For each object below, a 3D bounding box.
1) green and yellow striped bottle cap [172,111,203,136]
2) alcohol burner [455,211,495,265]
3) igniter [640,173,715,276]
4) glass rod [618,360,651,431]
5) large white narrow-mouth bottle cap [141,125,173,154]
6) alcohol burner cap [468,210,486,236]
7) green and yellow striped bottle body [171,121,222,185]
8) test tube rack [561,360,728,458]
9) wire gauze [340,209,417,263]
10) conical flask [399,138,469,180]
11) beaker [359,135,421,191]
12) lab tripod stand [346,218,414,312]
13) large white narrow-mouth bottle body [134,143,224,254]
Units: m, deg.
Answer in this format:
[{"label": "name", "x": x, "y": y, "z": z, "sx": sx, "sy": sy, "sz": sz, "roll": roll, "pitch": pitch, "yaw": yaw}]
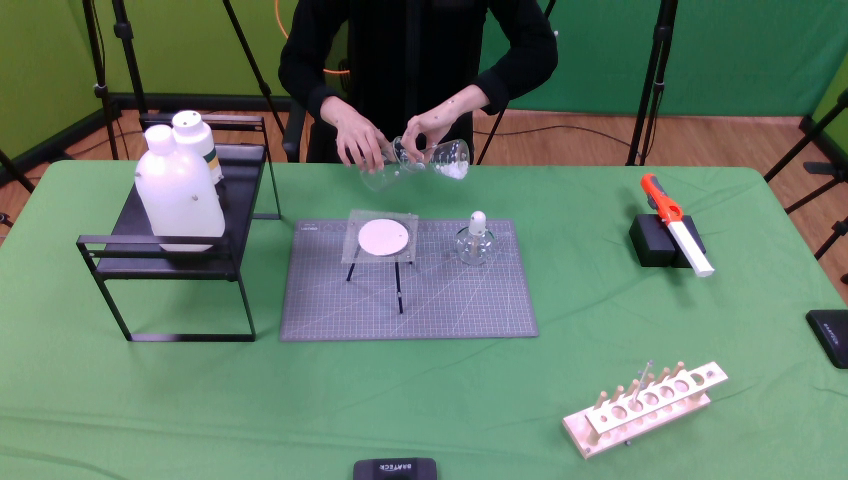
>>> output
[{"label": "green and yellow striped bottle cap", "x": -0.374, "y": -0.185, "z": 0.958, "sx": 0.045, "sy": 0.020, "sz": 0.045, "roll": 4, "pitch": 46, "yaw": -4}, {"label": "alcohol burner", "x": 0.097, "y": -0.010, "z": 1.147, "sx": 0.078, "sy": 0.120, "sz": 0.077, "roll": 0, "pitch": 47, "yaw": 0}, {"label": "igniter", "x": 0.495, "y": -0.039, "z": 1.204, "sx": 0.057, "sy": 0.025, "sz": 0.274, "roll": -2, "pitch": 47, "yaw": -13}, {"label": "glass rod", "x": 0.298, "y": 0.227, "z": 0.865, "sx": 0.008, "sy": 0.201, "sz": 0.008, "roll": -1, "pitch": 47, "yaw": 2}, {"label": "large white narrow-mouth bottle cap", "x": -0.356, "y": -0.134, "z": 0.810, "sx": 0.038, "sy": 0.024, "sz": 0.037, "roll": 1, "pitch": 48, "yaw": -1}, {"label": "alcohol burner cap", "x": 0.099, "y": -0.034, "z": 1.119, "sx": 0.034, "sy": 0.048, "sz": 0.033, "roll": 0, "pitch": 53, "yaw": 0}, {"label": "green and yellow striped bottle body", "x": -0.375, "y": -0.149, "z": 0.995, "sx": 0.063, "sy": 0.120, "sz": 0.063, "roll": 2, "pitch": 46, "yaw": -2}, {"label": "test tube rack", "x": 0.341, "y": 0.248, "z": 0.940, "sx": 0.243, "sy": 0.085, "sz": 0.066, "roll": -15, "pitch": 49, "yaw": -18}, {"label": "wire gauze", "x": -0.074, "y": -0.007, "z": 1.023, "sx": 0.121, "sy": 0.011, "sz": 0.124, "roll": 3, "pitch": 46, "yaw": 0}, {"label": "conical flask", "x": 0.016, "y": -0.148, "z": 1.106, "sx": 0.121, "sy": 0.076, "sz": 0.075, "roll": 3, "pitch": 43, "yaw": 24}, {"label": "beaker", "x": -0.066, "y": -0.141, "z": 1.145, "sx": 0.084, "sy": 0.100, "sz": 0.073, "roll": 19, "pitch": 55, "yaw": -45}, {"label": "lab tripod stand", "x": -0.070, "y": 0.037, "z": 1.075, "sx": 0.148, "sy": 0.132, "sz": 0.147, "roll": 1, "pitch": 47, "yaw": -1}, {"label": "large white narrow-mouth bottle body", "x": -0.358, "y": -0.075, "z": 0.875, "sx": 0.102, "sy": 0.195, "sz": 0.101, "roll": 1, "pitch": 48, "yaw": -1}]
